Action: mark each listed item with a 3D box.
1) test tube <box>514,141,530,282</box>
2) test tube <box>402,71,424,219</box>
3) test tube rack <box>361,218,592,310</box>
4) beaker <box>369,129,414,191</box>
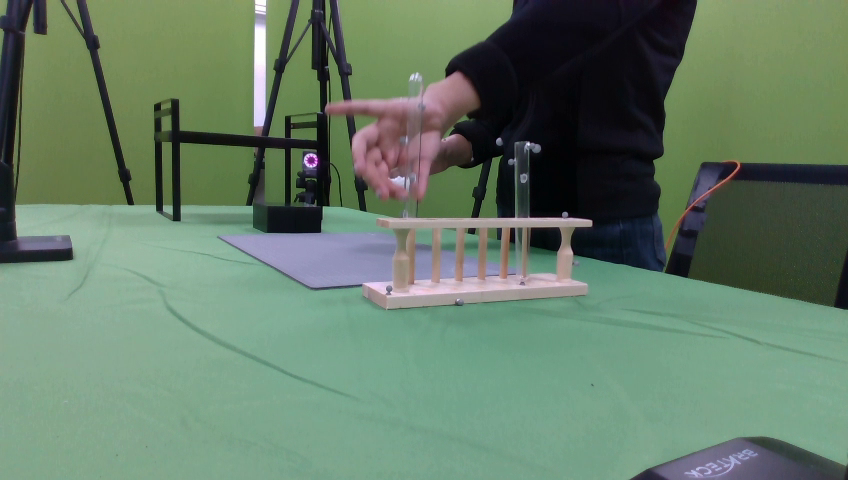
[{"bbox_3d":[0.103,-0.029,0.636,0.017,0.150,0.017,-2,12,1],"label":"test tube"},{"bbox_3d":[-0.012,-0.094,0.610,0.017,0.150,0.017,3,7,0],"label":"test tube"},{"bbox_3d":[0.060,0.019,0.640,0.243,0.085,0.066,-1,8,-27],"label":"test tube rack"},{"bbox_3d":[-0.054,-0.130,0.991,0.074,0.100,0.084,0,6,-4],"label":"beaker"}]
